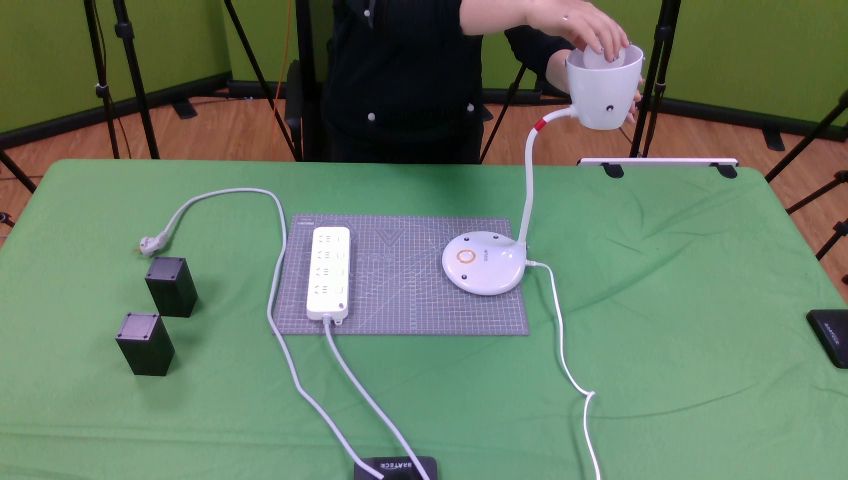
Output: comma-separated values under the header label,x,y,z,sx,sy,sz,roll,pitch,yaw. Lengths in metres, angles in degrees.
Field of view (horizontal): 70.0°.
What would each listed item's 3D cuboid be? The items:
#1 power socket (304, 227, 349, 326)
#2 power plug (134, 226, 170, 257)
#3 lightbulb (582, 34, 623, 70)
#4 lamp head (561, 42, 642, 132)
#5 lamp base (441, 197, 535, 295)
label,x,y,z,sx,sy,sz,roll,pitch,yaw
power socket,-0.177,0.059,1.115,0.072,0.033,0.225,-1,46,-4
power plug,-0.515,0.006,1.153,0.052,0.035,0.072,-6,24,7
lightbulb,0.271,-0.257,0.921,0.059,0.108,0.059,-6,32,4
lamp head,0.270,-0.230,0.935,0.112,0.123,0.112,-2,37,2
lamp base,0.130,-0.012,1.105,0.179,0.181,0.159,-1,46,-9
